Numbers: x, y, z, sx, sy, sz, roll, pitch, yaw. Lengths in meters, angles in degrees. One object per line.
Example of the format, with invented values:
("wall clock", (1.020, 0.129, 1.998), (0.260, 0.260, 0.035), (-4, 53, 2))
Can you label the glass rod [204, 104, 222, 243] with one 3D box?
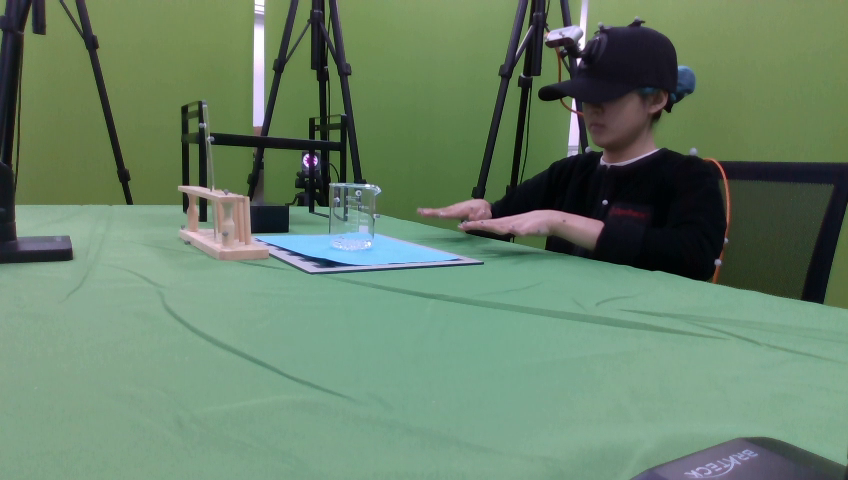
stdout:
("glass rod", (-0.298, -0.091, 0.851), (0.008, 0.199, 0.008), (-5, 1, 0))

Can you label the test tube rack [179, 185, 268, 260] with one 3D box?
("test tube rack", (-0.303, -0.031, 0.898), (0.067, 0.085, 0.241), (-2, 9, -33))

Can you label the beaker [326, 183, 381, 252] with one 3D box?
("beaker", (-0.108, -0.035, 0.921), (0.084, 0.100, 0.074), (5, 8, 15))
